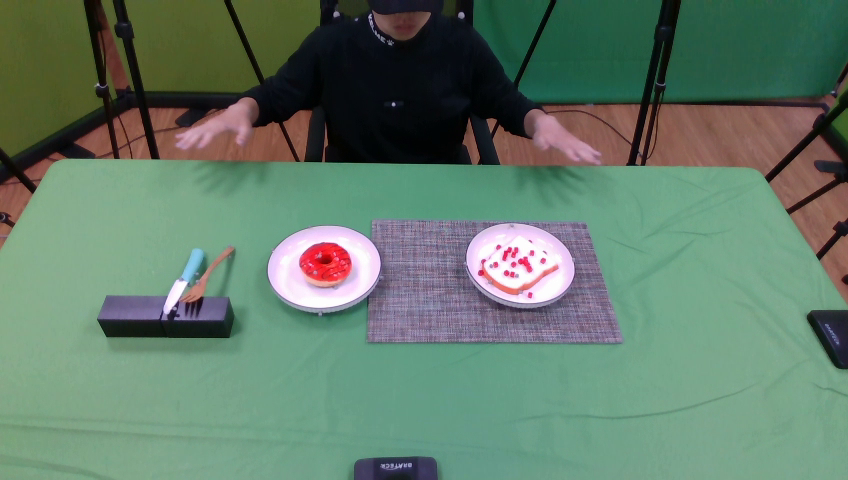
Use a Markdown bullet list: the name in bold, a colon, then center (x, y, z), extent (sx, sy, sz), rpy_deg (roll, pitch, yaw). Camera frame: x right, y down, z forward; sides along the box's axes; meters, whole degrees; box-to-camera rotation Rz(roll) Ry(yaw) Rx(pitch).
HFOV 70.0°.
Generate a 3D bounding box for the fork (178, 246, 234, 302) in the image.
- **fork**: center (-0.380, 0.057, 1.075), extent (0.028, 0.019, 0.206), rpy_deg (2, 28, 6)

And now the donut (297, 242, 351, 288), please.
- **donut**: center (-0.182, 0.045, 1.112), extent (0.099, 0.048, 0.098), rpy_deg (4, 45, -4)

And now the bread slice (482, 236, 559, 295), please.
- **bread slice**: center (0.177, 0.050, 1.147), extent (0.131, 0.019, 0.104), rpy_deg (-32, 55, -30)

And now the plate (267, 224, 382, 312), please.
- **plate**: center (-0.182, 0.055, 1.120), extent (0.208, 0.039, 0.206), rpy_deg (2, 46, -2)

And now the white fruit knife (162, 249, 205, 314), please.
- **white fruit knife**: center (-0.420, 0.070, 1.063), extent (0.027, 0.016, 0.206), rpy_deg (-1, 29, -2)

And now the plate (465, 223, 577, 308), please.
- **plate**: center (0.180, 0.051, 1.144), extent (0.209, 0.038, 0.208), rpy_deg (2, 45, -2)
